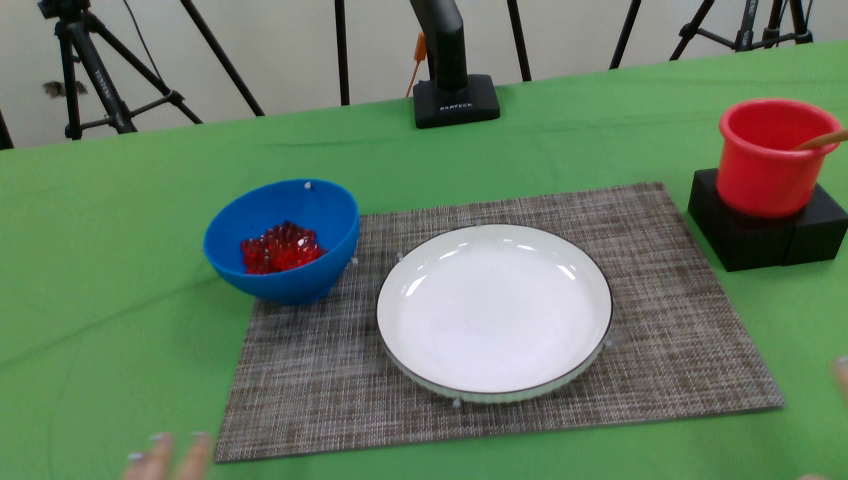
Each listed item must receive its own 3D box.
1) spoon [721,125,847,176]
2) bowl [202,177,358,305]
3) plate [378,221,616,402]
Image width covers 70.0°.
[{"bbox_3d":[0.323,-0.079,0.504,0.042,0.021,0.193,-22,-2,-14],"label":"spoon"},{"bbox_3d":[-0.134,0.012,0.608,0.151,0.077,0.150,-5,41,5],"label":"bowl"},{"bbox_3d":[0.063,0.061,0.546,0.207,0.039,0.205,-5,41,5],"label":"plate"}]
